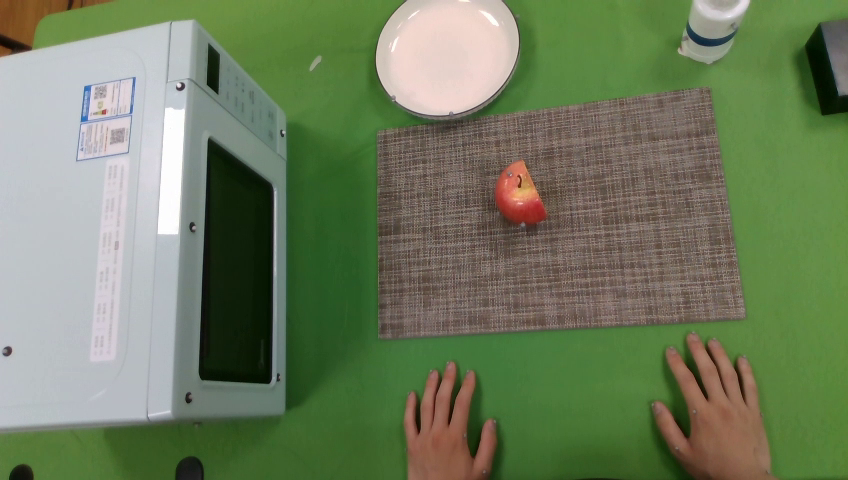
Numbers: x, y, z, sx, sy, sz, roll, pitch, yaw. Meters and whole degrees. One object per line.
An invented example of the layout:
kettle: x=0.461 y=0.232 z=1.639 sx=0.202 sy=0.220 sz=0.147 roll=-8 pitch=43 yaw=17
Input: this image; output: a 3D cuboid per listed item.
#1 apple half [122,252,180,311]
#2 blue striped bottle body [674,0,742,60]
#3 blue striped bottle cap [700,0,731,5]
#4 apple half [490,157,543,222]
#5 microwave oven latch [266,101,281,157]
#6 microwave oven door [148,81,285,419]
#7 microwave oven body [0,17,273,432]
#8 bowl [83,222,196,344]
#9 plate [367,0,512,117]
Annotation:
apple half: x=-0.355 y=0.054 z=0.778 sx=0.081 sy=0.033 sz=0.081 roll=0 pitch=89 yaw=6
blue striped bottle body: x=0.351 y=-0.281 z=0.747 sx=0.063 sy=0.121 sz=0.062 roll=-3 pitch=75 yaw=12
blue striped bottle cap: x=0.340 y=-0.294 z=0.700 sx=0.044 sy=0.021 sz=0.044 roll=-3 pitch=78 yaw=12
apple half: x=0.112 y=-0.057 z=0.768 sx=0.053 sy=0.075 sz=0.080 roll=-25 pitch=76 yaw=10
microwave oven latch: x=-0.224 y=-0.159 z=0.873 sx=0.030 sy=0.030 sz=0.078 roll=-6 pitch=76 yaw=11
microwave oven door: x=-0.235 y=0.027 z=0.722 sx=0.039 sy=0.245 sz=0.353 roll=-7 pitch=75 yaw=12
microwave oven body: x=-0.379 y=0.005 z=0.766 sx=0.325 sy=0.262 sz=0.439 roll=-7 pitch=76 yaw=11
bowl: x=-0.353 y=0.057 z=0.788 sx=0.151 sy=0.077 sz=0.151 roll=-1 pitch=86 yaw=17
plate: x=0.023 y=-0.267 z=0.864 sx=0.207 sy=0.039 sz=0.206 roll=-3 pitch=76 yaw=12
